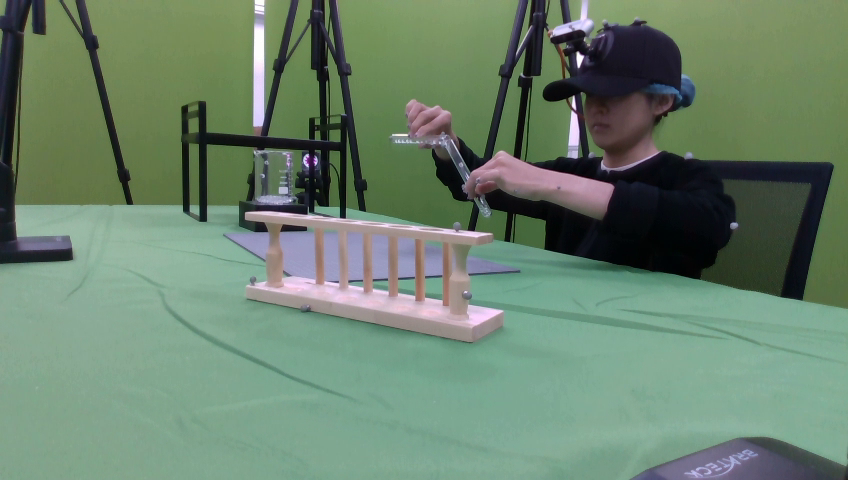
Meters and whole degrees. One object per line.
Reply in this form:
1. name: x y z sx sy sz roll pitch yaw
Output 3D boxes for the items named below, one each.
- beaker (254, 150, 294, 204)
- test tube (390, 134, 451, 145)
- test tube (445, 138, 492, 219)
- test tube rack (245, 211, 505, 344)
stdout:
1. beaker: -0.289 -0.120 1.151 0.073 0.100 0.084 8 9 33
2. test tube: -0.009 -0.170 1.021 0.017 0.017 0.149 -4 11 -41
3. test tube: 0.069 -0.096 0.941 0.017 0.150 0.017 -21 -21 -9
4. test tube rack: -0.049 0.025 0.547 0.241 0.085 0.067 7 8 29
